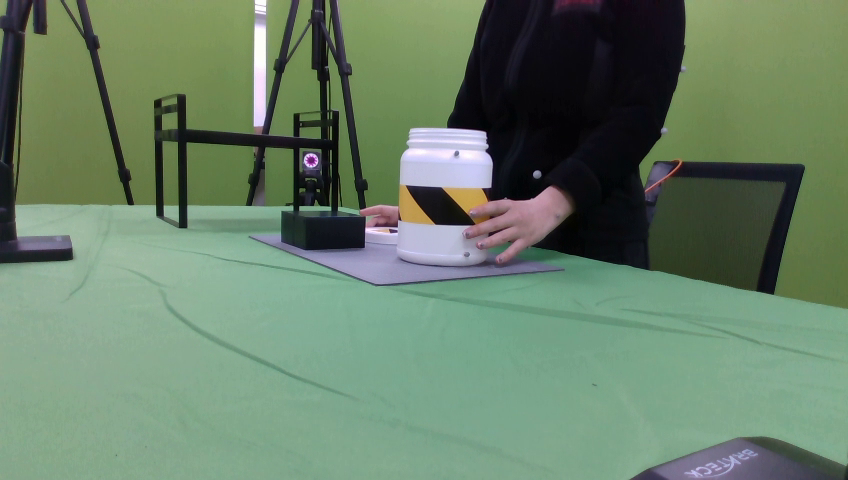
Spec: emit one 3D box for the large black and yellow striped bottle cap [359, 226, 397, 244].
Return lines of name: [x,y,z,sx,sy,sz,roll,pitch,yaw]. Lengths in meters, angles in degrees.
large black and yellow striped bottle cap: [-0.055,-0.010,1.052,0.115,0.019,0.115,1,7,0]

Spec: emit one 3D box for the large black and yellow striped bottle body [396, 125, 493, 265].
large black and yellow striped bottle body: [0.029,-0.064,0.847,0.131,0.184,0.130,3,7,0]
